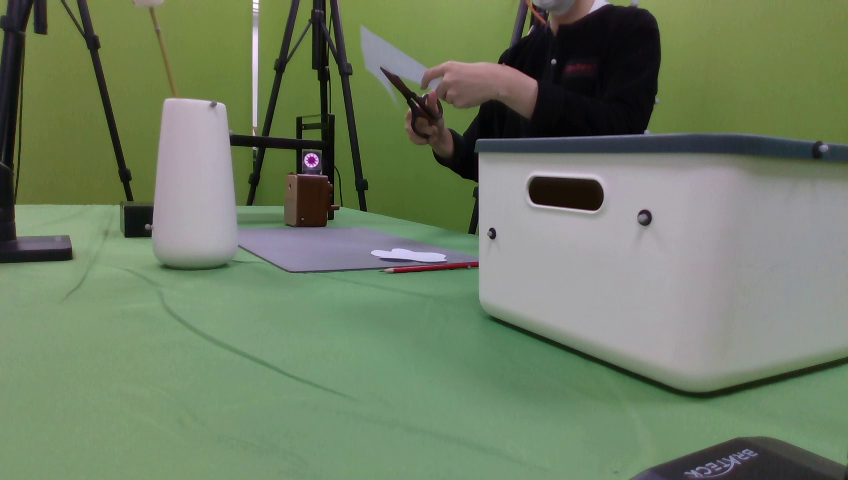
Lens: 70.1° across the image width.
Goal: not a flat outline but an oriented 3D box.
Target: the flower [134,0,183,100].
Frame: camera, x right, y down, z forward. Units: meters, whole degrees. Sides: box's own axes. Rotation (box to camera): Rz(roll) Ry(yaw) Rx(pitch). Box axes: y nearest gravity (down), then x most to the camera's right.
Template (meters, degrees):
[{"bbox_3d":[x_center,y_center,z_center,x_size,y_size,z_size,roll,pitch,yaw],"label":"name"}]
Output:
[{"bbox_3d":[-0.282,-0.147,0.713,0.038,0.362,0.044,-23,24,-31],"label":"flower"}]

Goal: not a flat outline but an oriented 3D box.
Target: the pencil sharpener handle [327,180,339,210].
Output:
[{"bbox_3d":[-0.194,-0.095,1.256,0.031,0.067,0.036,-2,-7,-36],"label":"pencil sharpener handle"}]

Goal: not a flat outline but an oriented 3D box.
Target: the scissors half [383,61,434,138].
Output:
[{"bbox_3d":[-0.030,-0.249,1.087,0.012,0.176,0.040,17,60,44],"label":"scissors half"}]

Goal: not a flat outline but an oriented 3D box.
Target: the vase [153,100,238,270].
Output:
[{"bbox_3d":[-0.278,-0.066,0.736,0.098,0.200,0.098,2,9,0],"label":"vase"}]

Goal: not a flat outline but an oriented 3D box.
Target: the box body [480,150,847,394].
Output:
[{"bbox_3d":[0.254,0.002,0.539,0.366,0.160,0.253,-2,8,-31],"label":"box body"}]

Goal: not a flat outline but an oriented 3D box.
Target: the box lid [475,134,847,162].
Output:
[{"bbox_3d":[0.256,-0.073,0.528,0.373,0.015,0.262,-2,8,-31],"label":"box lid"}]

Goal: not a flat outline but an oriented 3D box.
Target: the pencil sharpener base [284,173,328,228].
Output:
[{"bbox_3d":[-0.239,-0.081,1.231,0.077,0.107,0.061,-2,9,-36],"label":"pencil sharpener base"}]

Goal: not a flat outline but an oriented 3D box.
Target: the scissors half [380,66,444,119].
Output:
[{"bbox_3d":[-0.020,-0.268,1.092,0.013,0.040,0.176,11,-9,43],"label":"scissors half"}]

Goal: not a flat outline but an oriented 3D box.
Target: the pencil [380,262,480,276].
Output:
[{"bbox_3d":[0.030,0.037,0.794,0.195,0.012,0.012,-4,10,-30],"label":"pencil"}]
